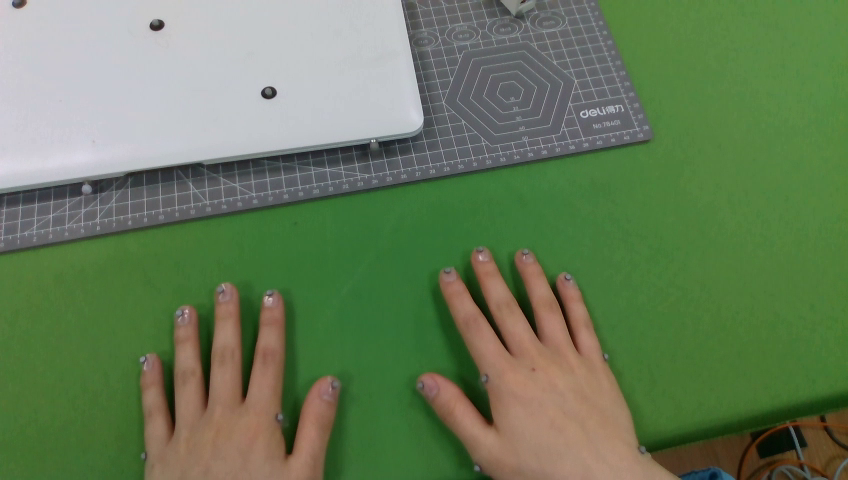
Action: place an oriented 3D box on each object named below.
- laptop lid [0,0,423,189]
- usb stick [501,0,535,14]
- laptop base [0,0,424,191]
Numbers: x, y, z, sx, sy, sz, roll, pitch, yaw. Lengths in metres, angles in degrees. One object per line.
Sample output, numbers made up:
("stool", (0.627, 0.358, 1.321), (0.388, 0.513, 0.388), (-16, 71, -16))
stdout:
("laptop lid", (-0.190, -0.155, 0.438), (0.357, 0.013, 0.240), (-7, 68, -4))
("usb stick", (0.062, -0.207, 0.472), (0.021, 0.027, 0.058), (-30, 67, -12))
("laptop base", (-0.191, -0.152, 0.450), (0.355, 0.023, 0.233), (-9, 70, -5))
